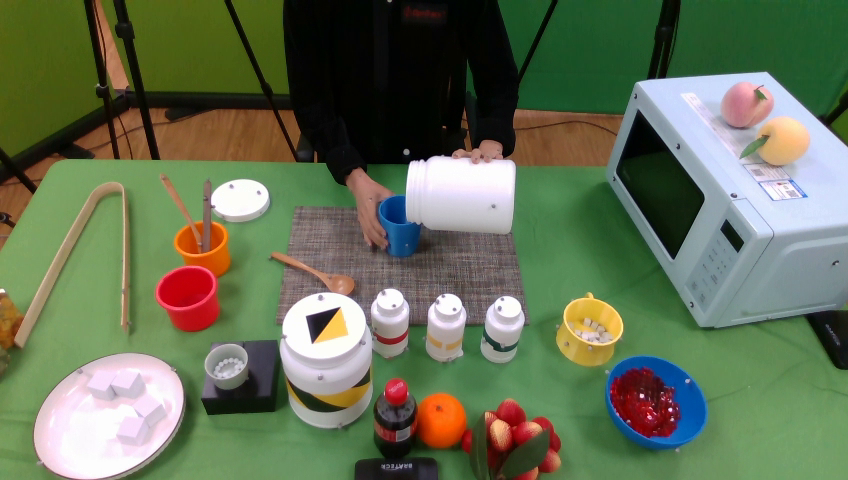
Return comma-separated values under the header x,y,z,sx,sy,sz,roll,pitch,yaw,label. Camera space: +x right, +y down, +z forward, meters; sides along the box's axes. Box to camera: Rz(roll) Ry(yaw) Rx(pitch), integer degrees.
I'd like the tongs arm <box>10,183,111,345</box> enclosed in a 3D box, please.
x,y,z,sx,sy,sz,roll,pitch,yaw,label
-0.658,0.027,1.109,0.028,0.028,0.385,-2,45,1,tongs arm

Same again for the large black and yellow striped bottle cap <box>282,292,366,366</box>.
x,y,z,sx,sy,sz,roll,pitch,yaw,label
-0.138,0.121,0.841,0.115,0.019,0.114,3,47,-3,large black and yellow striped bottle cap

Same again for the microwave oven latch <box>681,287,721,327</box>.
x,y,z,sx,sy,sz,roll,pitch,yaw,label
0.494,0.119,1.087,0.030,0.029,0.078,-6,46,-9,microwave oven latch

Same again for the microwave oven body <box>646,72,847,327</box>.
x,y,z,sx,sy,sz,roll,pitch,yaw,label
0.607,-0.089,1.164,0.326,0.261,0.438,-7,46,-10,microwave oven body

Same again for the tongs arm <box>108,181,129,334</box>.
x,y,z,sx,sy,sz,roll,pitch,yaw,label
-0.571,0.019,1.123,0.051,0.026,0.382,-10,47,-12,tongs arm

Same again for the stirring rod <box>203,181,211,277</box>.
x,y,z,sx,sy,sz,roll,pitch,yaw,label
-0.396,-0.021,1.107,0.014,0.006,0.176,-1,89,-1,stirring rod

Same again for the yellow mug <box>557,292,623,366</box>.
x,y,z,sx,sy,sz,roll,pitch,yaw,label
0.285,0.145,1.051,0.100,0.064,0.130,7,46,4,yellow mug

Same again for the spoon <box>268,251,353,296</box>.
x,y,z,sx,sy,sz,roll,pitch,yaw,label
-0.212,0.057,1.121,0.193,0.022,0.041,24,74,18,spoon

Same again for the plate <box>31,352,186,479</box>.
x,y,z,sx,sy,sz,roll,pitch,yaw,label
-0.459,0.262,0.898,0.209,0.038,0.208,2,46,-2,plate

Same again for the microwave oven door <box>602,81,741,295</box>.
x,y,z,sx,sy,sz,roll,pitch,yaw,label
0.456,-0.107,1.162,0.039,0.245,0.353,-7,47,-11,microwave oven door

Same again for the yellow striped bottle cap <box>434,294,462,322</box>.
x,y,z,sx,sy,sz,roll,pitch,yaw,label
0.038,0.107,0.958,0.044,0.019,0.044,2,45,-2,yellow striped bottle cap

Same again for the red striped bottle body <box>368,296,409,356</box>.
x,y,z,sx,sy,sz,roll,pitch,yaw,label
-0.059,0.135,0.997,0.063,0.120,0.062,5,49,-6,red striped bottle body

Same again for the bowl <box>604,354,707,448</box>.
x,y,z,sx,sy,sz,roll,pitch,yaw,label
0.346,0.261,0.937,0.151,0.077,0.150,2,46,-2,bowl

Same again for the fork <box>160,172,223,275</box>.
x,y,z,sx,sy,sz,roll,pitch,yaw,label
-0.425,-0.030,1.103,0.028,0.018,0.207,-28,98,-12,fork

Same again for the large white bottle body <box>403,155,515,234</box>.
x,y,z,sx,sy,sz,roll,pitch,yaw,label
0.061,-0.080,1.060,0.184,0.131,0.130,4,46,4,large white bottle body

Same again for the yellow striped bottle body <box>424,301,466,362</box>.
x,y,z,sx,sy,sz,roll,pitch,yaw,label
0.035,0.143,0.995,0.063,0.121,0.062,3,46,-3,yellow striped bottle body

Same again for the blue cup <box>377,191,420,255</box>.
x,y,z,sx,sy,sz,roll,pitch,yaw,label
-0.046,-0.025,1.157,0.093,0.101,0.092,2,47,-2,blue cup

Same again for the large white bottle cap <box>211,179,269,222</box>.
x,y,z,sx,sy,sz,roll,pitch,yaw,label
-0.380,-0.082,1.250,0.115,0.018,0.114,2,47,-2,large white bottle cap

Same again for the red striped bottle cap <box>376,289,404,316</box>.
x,y,z,sx,sy,sz,roll,pitch,yaw,label
-0.054,0.098,0.958,0.044,0.018,0.044,0,48,1,red striped bottle cap

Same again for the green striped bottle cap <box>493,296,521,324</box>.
x,y,z,sx,sy,sz,roll,pitch,yaw,label
0.133,0.111,0.962,0.044,0.020,0.044,2,47,-2,green striped bottle cap

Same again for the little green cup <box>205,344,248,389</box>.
x,y,z,sx,sy,sz,roll,pitch,yaw,label
-0.294,0.191,0.909,0.061,0.039,0.061,2,48,-2,little green cup

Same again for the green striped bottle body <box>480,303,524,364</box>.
x,y,z,sx,sy,sz,roll,pitch,yaw,label
0.129,0.147,1.000,0.063,0.120,0.063,2,46,-2,green striped bottle body

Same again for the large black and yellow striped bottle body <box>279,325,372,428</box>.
x,y,z,sx,sy,sz,roll,pitch,yaw,label
-0.143,0.181,0.900,0.131,0.185,0.130,2,46,-2,large black and yellow striped bottle body
